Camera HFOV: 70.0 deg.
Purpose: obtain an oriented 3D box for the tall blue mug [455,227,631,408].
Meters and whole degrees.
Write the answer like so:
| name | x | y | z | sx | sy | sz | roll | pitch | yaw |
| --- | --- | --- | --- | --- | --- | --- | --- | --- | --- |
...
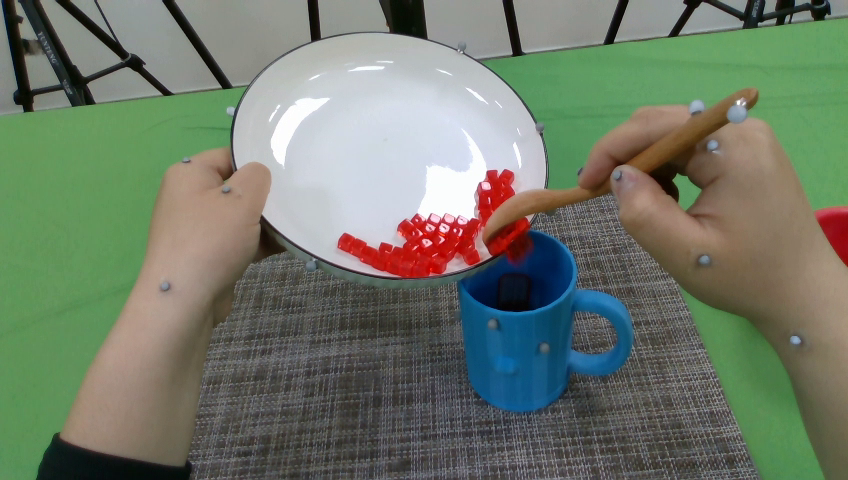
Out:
| name | x | y | z | sx | sy | sz | roll | pitch | yaw |
| --- | --- | --- | --- | --- | --- | --- | --- | --- | --- |
| tall blue mug | 0.078 | 0.052 | 0.417 | 0.107 | 0.109 | 0.077 | -11 | 43 | -1 |

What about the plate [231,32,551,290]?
| name | x | y | z | sx | sy | sz | roll | pitch | yaw |
| --- | --- | --- | --- | --- | --- | --- | --- | --- | --- |
| plate | -0.020 | -0.055 | 0.408 | 0.208 | 0.039 | 0.205 | 5 | 58 | -8 |

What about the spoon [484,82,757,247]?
| name | x | y | z | sx | sy | sz | roll | pitch | yaw |
| --- | --- | --- | --- | --- | --- | --- | --- | --- | --- |
| spoon | 0.080 | -0.027 | 0.293 | 0.041 | 0.193 | 0.021 | -34 | 93 | -26 |
